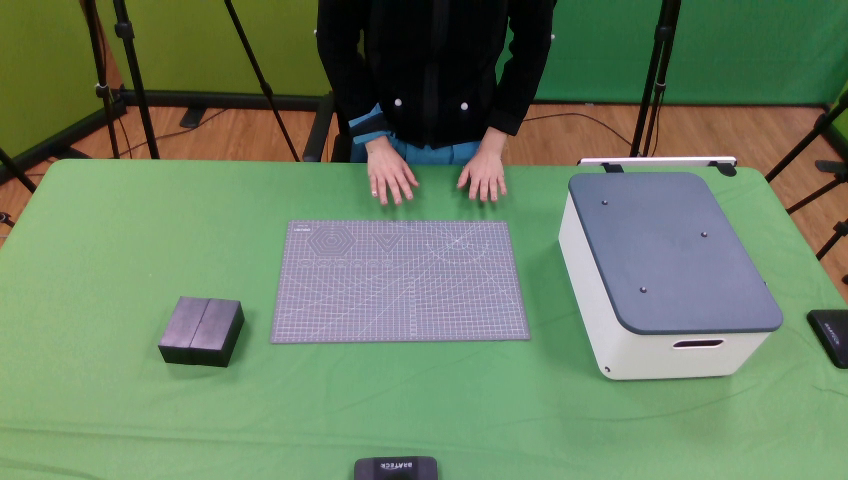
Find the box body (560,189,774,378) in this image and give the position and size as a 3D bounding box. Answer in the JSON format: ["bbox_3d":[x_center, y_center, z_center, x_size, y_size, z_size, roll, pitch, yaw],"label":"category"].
[{"bbox_3d":[0.405,0.057,1.074,0.254,0.161,0.361,-2,46,-5],"label":"box body"}]

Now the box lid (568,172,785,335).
[{"bbox_3d":[0.407,0.007,1.019,0.263,0.015,0.369,-1,46,-5],"label":"box lid"}]
